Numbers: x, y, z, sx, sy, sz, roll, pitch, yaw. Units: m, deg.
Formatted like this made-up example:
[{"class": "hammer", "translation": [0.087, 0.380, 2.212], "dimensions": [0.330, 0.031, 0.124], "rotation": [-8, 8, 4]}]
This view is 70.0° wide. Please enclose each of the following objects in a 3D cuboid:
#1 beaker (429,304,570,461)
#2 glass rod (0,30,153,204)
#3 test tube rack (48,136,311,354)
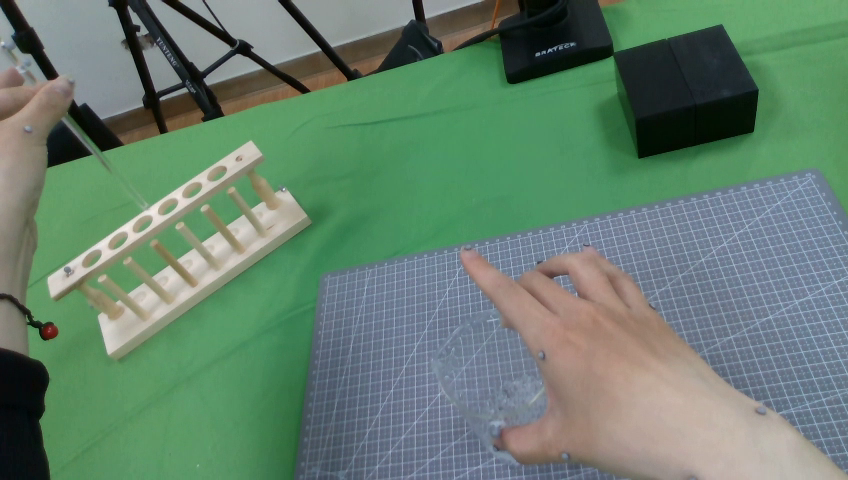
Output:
[{"class": "beaker", "translation": [0.055, 0.100, 0.410], "dimensions": [0.083, 0.101, 0.073], "rotation": [0, 53, 23]}, {"class": "glass rod", "translation": [-0.261, -0.092, 0.453], "dimensions": [0.008, 0.202, 0.008], "rotation": [-8, 53, 10]}, {"class": "test tube rack", "translation": [-0.248, 0.004, 0.627], "dimensions": [0.242, 0.086, 0.066], "rotation": [-36, 49, -8]}]
